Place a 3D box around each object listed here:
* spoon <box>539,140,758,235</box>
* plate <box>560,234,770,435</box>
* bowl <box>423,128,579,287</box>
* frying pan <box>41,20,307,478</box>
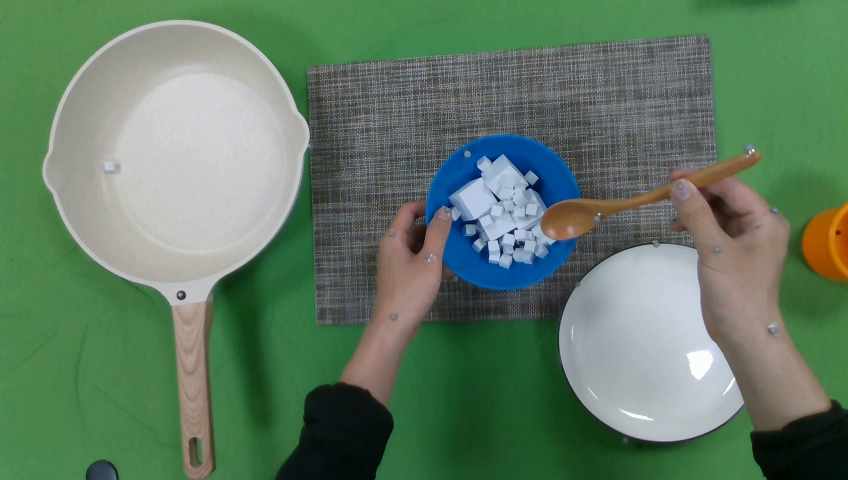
[{"bbox_3d":[0.169,-0.038,0.484,0.042,0.193,0.021,43,57,-20],"label":"spoon"},{"bbox_3d":[0.248,0.097,0.639,0.207,0.039,0.207,0,91,7],"label":"plate"},{"bbox_3d":[0.077,-0.029,0.612,0.151,0.077,0.151,0,90,6],"label":"bowl"},{"bbox_3d":[-0.260,0.008,0.668,0.306,0.103,0.485,-7,79,7],"label":"frying pan"}]
